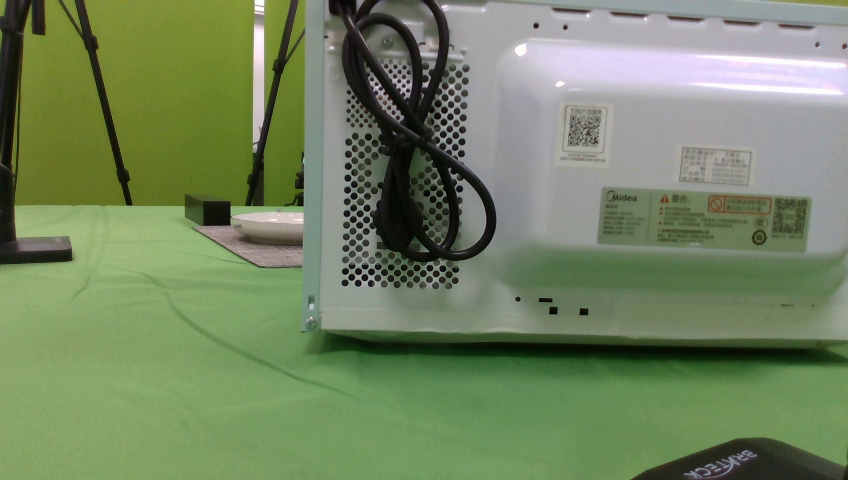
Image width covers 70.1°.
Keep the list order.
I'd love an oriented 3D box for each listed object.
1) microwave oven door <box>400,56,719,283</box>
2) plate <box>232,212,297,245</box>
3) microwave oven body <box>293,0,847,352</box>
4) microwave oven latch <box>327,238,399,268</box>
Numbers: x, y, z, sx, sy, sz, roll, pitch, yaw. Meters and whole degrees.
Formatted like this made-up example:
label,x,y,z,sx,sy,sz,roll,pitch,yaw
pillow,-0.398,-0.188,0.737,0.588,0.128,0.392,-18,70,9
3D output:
label,x,y,z,sx,sy,sz,roll,pitch,yaw
microwave oven door,0.155,-0.077,0.698,0.356,0.243,0.039,2,8,-5
plate,-0.214,-0.019,1.018,0.208,0.039,0.207,2,7,0
microwave oven body,0.122,-0.055,0.550,0.442,0.260,0.325,3,7,-5
microwave oven latch,-0.069,0.015,0.694,0.079,0.029,0.030,3,7,-3
